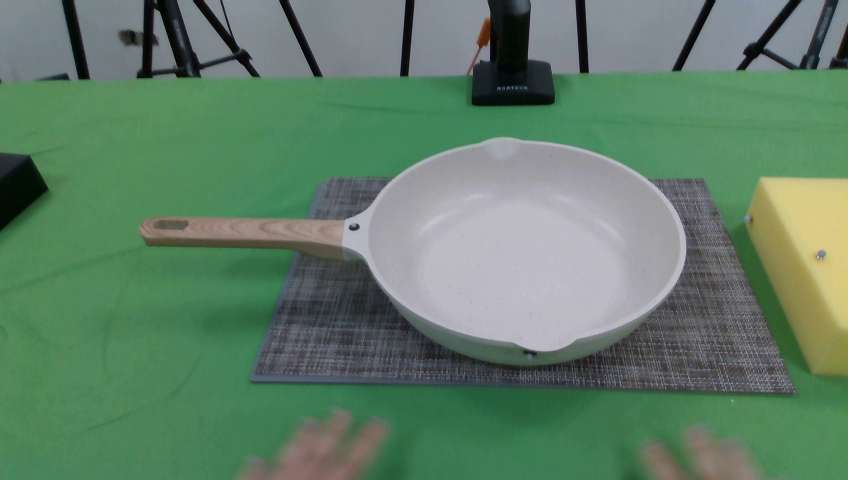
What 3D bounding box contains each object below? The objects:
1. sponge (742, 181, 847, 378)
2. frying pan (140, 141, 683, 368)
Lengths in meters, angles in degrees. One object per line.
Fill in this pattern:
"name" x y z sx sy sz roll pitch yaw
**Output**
"sponge" 0.387 0.028 0.552 0.118 0.061 0.205 1 40 6
"frying pan" -0.015 0.003 0.575 0.488 0.103 0.304 4 39 -4
